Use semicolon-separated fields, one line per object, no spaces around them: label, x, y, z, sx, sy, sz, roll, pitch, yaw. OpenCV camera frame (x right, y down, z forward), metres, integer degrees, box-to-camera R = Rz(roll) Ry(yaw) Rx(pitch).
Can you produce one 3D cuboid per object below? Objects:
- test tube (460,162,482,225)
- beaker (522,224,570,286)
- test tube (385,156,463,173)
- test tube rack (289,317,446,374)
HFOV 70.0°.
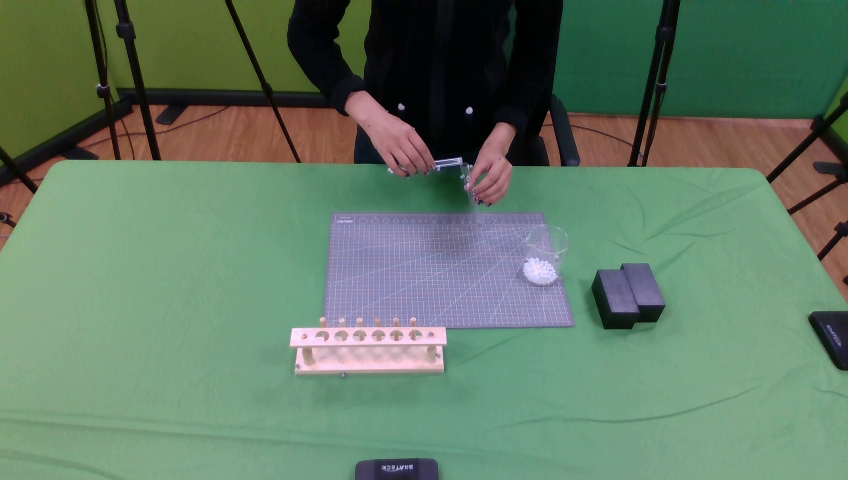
test tube;0.091;-0.086;1.159;0.017;0.151;0.017;-10;43;10
beaker;0.221;0.032;1.129;0.084;0.101;0.073;-6;46;-9
test tube;-0.002;-0.139;1.125;0.150;0.017;0.017;-5;44;17
test tube rack;-0.089;0.167;0.987;0.242;0.085;0.066;0;46;-4
